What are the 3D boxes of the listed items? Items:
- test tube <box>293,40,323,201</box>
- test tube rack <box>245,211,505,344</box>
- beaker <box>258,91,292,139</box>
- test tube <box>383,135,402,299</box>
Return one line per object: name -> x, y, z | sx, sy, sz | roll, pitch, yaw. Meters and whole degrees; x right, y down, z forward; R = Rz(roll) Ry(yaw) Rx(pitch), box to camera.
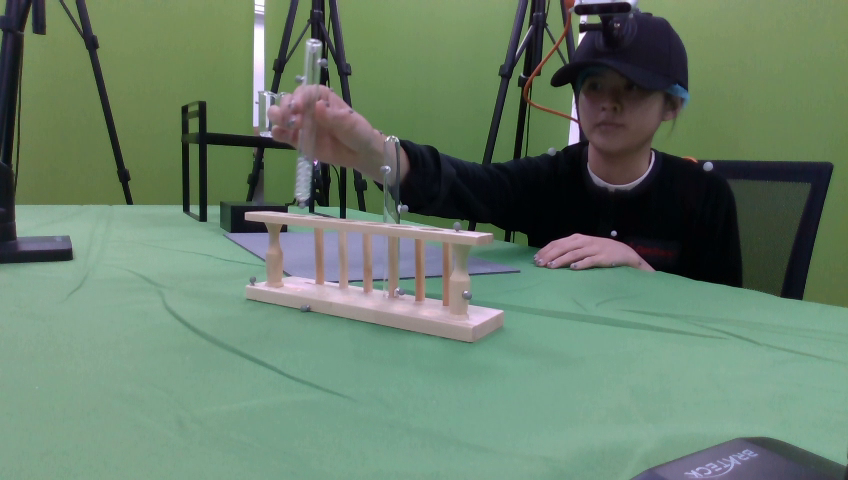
test tube -> -0.109, -0.111, 0.565 | 0.017, 0.150, 0.017 | 5, 0, 0
test tube rack -> -0.049, 0.025, 0.547 | 0.241, 0.085, 0.067 | 7, 8, 28
beaker -> -0.331, -0.276, 1.343 | 0.074, 0.100, 0.083 | 0, 8, -20
test tube -> -0.029, -0.019, 0.550 | 0.017, 0.150, 0.017 | 1, 8, 0
